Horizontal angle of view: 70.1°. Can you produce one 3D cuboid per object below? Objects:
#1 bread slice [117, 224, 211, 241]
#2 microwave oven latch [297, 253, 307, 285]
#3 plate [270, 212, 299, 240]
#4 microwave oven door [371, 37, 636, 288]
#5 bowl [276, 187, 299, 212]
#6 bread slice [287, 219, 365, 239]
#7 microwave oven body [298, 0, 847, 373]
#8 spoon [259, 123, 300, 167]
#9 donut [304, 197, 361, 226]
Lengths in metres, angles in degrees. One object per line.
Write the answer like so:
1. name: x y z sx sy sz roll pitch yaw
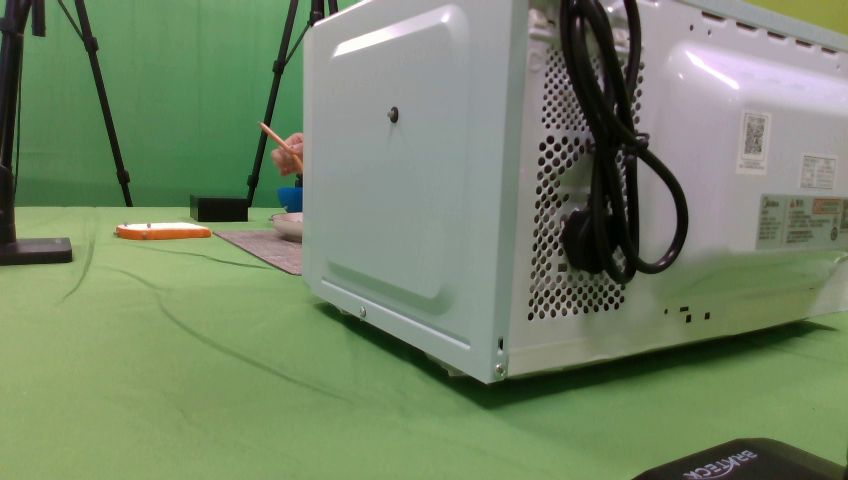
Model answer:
1. bread slice: -0.443 -0.015 1.022 0.132 0.019 0.104 -3 8 -45
2. microwave oven latch: -0.082 0.027 0.582 0.079 0.029 0.030 -1 7 -32
3. plate: -0.162 -0.022 1.057 0.208 0.039 0.207 2 7 0
4. microwave oven door: 0.109 -0.080 0.686 0.358 0.243 0.039 -2 9 -33
5. bowl: -0.241 -0.073 1.302 0.151 0.077 0.151 2 7 0
6. bread slice: -0.170 -0.020 1.057 0.134 0.018 0.107 4 7 -6
7. microwave oven body: 0.151 -0.055 0.542 0.444 0.260 0.324 -1 7 -33
8. spoon: -0.228 -0.142 1.070 0.193 0.021 0.042 50 20 9
9. donut: -0.159 -0.050 1.055 0.099 0.048 0.099 3 8 0
